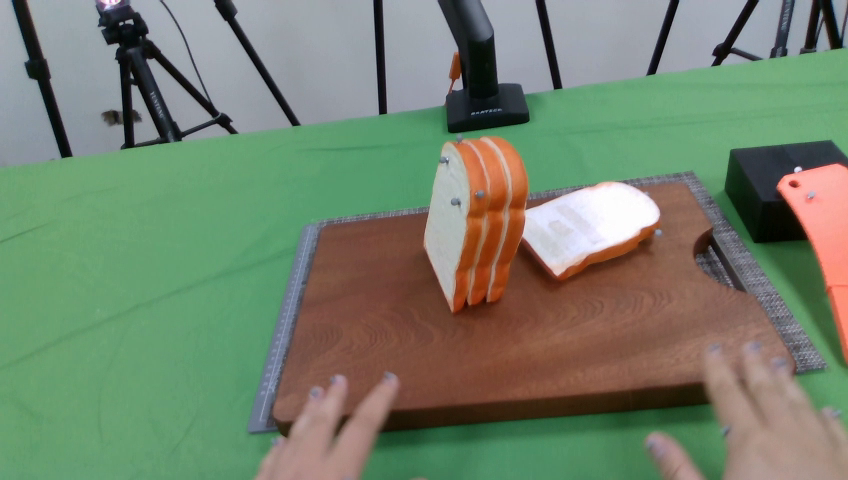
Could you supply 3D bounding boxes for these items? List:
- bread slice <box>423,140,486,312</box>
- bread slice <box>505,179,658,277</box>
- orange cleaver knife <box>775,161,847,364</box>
[{"bbox_3d":[0.026,-0.021,0.547,0.018,0.135,0.106,-3,33,-16],"label":"bread slice"},{"bbox_3d":[0.159,-0.016,0.591,0.131,0.019,0.103,-22,36,-7],"label":"bread slice"},{"bbox_3d":[0.361,0.012,0.516,0.077,0.012,0.209,-1,54,9],"label":"orange cleaver knife"}]
